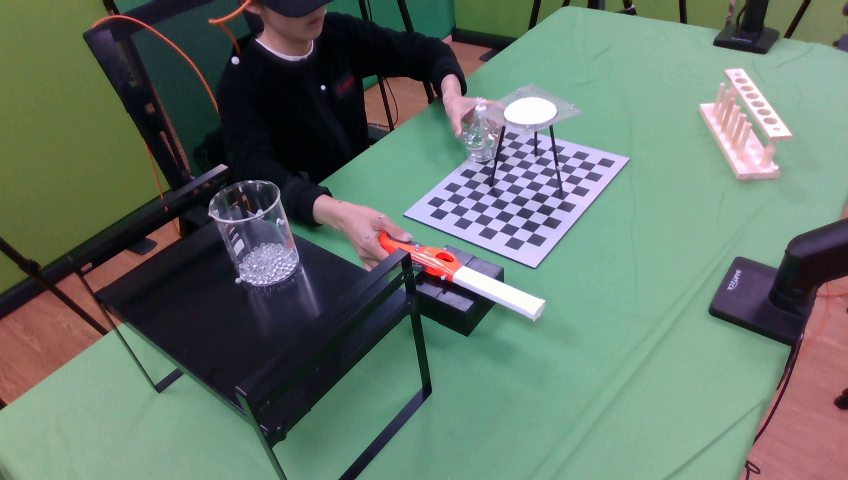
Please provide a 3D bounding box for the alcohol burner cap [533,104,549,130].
[{"bbox_3d":[0.235,-0.251,1.217,0.034,0.048,0.033,-5,41,5],"label":"alcohol burner cap"}]

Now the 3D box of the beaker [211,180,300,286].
[{"bbox_3d":[-0.183,-0.007,0.674,0.074,0.101,0.083,-1,40,7],"label":"beaker"}]

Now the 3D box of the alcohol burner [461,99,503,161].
[{"bbox_3d":[0.107,-0.207,1.116,0.078,0.119,0.077,-2,41,2],"label":"alcohol burner"}]

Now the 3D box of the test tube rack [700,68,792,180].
[{"bbox_3d":[0.572,-0.215,1.089,0.066,0.085,0.241,-3,41,7],"label":"test tube rack"}]

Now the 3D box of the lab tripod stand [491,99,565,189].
[{"bbox_3d":[0.184,-0.163,1.046,0.148,0.132,0.147,-5,42,5],"label":"lab tripod stand"}]

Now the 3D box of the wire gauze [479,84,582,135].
[{"bbox_3d":[0.176,-0.216,1.006,0.125,0.011,0.120,-29,46,-22],"label":"wire gauze"}]

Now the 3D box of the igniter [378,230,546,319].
[{"bbox_3d":[0.041,0.042,0.845,0.274,0.025,0.057,23,41,29],"label":"igniter"}]
